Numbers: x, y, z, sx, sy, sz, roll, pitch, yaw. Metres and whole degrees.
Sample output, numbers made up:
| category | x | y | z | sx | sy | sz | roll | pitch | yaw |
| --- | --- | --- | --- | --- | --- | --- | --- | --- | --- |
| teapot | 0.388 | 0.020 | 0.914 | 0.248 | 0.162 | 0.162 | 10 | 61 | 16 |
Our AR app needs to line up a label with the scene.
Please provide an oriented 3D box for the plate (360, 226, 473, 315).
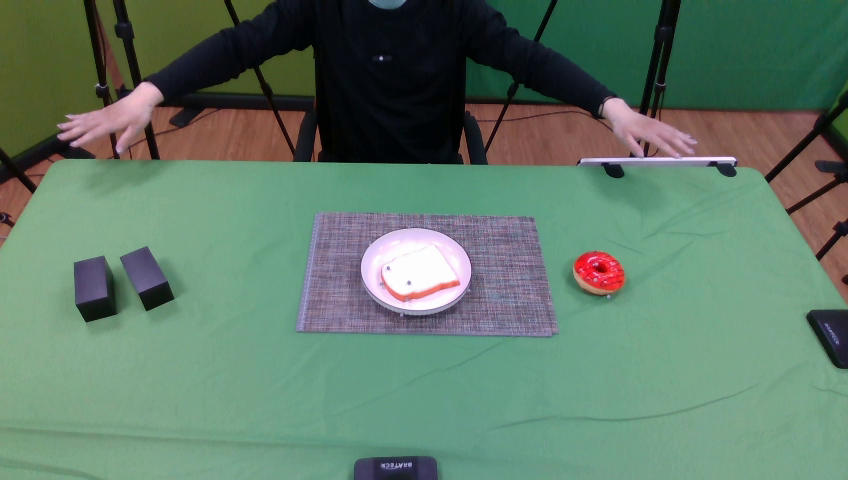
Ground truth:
| category | x | y | z | sx | sy | sz | roll | pitch | yaw |
| --- | --- | --- | --- | --- | --- | --- | --- | --- | --- |
| plate | -0.013 | 0.059 | 1.124 | 0.208 | 0.039 | 0.206 | 2 | 46 | -2 |

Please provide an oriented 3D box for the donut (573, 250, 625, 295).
| category | x | y | z | sx | sy | sz | roll | pitch | yaw |
| --- | --- | --- | --- | --- | --- | --- | --- | --- | --- |
| donut | 0.332 | 0.062 | 1.149 | 0.099 | 0.048 | 0.098 | 4 | 45 | -4 |

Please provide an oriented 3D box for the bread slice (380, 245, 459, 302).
| category | x | y | z | sx | sy | sz | roll | pitch | yaw |
| --- | --- | --- | --- | --- | --- | --- | --- | --- | --- |
| bread slice | -0.014 | 0.064 | 1.122 | 0.132 | 0.019 | 0.104 | -18 | 49 | -21 |
